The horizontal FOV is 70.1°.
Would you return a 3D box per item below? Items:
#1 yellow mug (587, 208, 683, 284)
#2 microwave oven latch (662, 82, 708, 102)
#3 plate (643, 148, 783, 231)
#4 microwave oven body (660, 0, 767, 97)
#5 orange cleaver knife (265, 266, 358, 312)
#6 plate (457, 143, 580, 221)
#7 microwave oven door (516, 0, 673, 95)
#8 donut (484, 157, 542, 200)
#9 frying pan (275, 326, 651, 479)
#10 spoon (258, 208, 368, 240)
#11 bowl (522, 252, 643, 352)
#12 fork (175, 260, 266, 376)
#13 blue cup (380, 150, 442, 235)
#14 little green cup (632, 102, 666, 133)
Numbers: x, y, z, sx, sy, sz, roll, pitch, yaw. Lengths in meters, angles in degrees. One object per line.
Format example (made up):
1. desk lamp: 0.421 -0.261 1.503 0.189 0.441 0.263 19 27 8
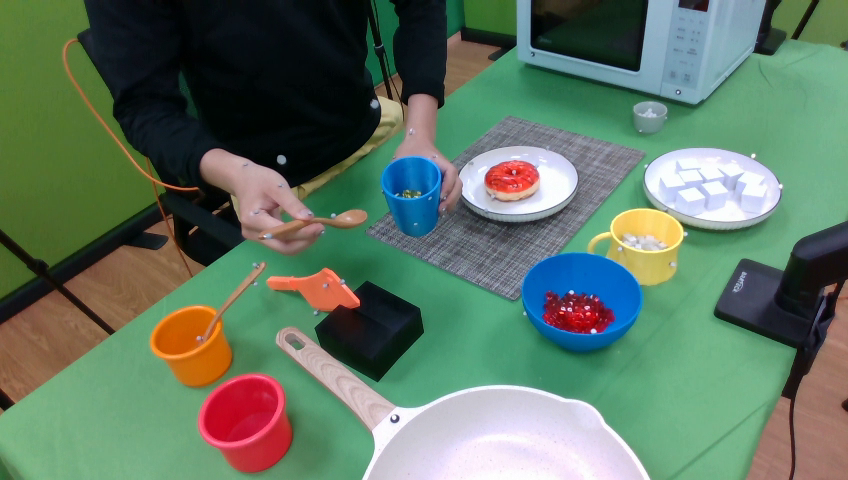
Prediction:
1. yellow mug: 0.305 0.009 0.884 0.131 0.064 0.099 -4 41 5
2. microwave oven latch: 0.518 -0.299 1.203 0.078 0.029 0.030 29 53 36
3. plate: 0.464 -0.079 0.986 0.207 0.039 0.206 -4 40 4
4. microwave oven body: 0.473 -0.517 1.313 0.438 0.261 0.327 26 51 34
5. orange cleaver knife: -0.164 0.073 0.864 0.210 0.077 0.012 -6 31 50
6. plate: 0.161 -0.097 1.042 0.209 0.038 0.208 -4 40 4
7. microwave oven door: 0.344 -0.458 1.256 0.353 0.245 0.039 26 51 33
8. donut: 0.153 -0.107 1.039 0.099 0.048 0.098 -6 37 5
9. frying pan: 0.003 0.229 0.641 0.484 0.103 0.308 34 54 28
10. spoon: -0.126 -0.021 0.699 0.041 0.021 0.195 12 11 25
11. bowl: 0.204 0.093 0.792 0.151 0.077 0.150 -4 40 4
12. fork: -0.268 0.103 0.792 0.207 0.019 0.028 -51 41 16
13. blue cup: -0.014 -0.059 0.869 0.092 0.100 0.092 -2 53 3
14. little green cup: 0.434 -0.237 1.171 0.061 0.039 0.061 -5 40 5
